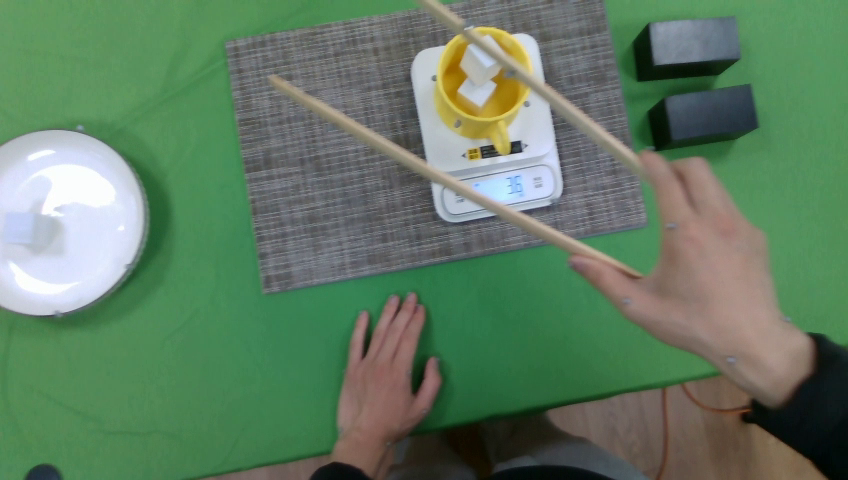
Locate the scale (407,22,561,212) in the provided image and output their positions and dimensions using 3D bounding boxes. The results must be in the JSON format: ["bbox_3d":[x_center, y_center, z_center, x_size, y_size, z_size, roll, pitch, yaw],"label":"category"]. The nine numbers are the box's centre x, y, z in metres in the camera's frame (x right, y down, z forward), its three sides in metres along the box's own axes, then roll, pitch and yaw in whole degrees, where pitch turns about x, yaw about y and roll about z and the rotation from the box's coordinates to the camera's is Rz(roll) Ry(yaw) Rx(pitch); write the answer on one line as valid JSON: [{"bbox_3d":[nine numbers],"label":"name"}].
[{"bbox_3d":[0.069,-0.141,0.693,0.149,0.031,0.200,-11,87,-2],"label":"scale"}]

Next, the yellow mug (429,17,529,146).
[{"bbox_3d":[0.062,-0.162,0.647,0.100,0.064,0.130,-21,88,-4],"label":"yellow mug"}]

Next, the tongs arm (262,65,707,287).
[{"bbox_3d":[0.028,-0.056,0.475,0.385,0.028,0.028,29,79,15],"label":"tongs arm"}]

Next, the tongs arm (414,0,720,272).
[{"bbox_3d":[0.073,-0.114,0.479,0.382,0.027,0.051,40,86,15],"label":"tongs arm"}]

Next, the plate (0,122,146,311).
[{"bbox_3d":[-0.410,-0.025,0.674,0.208,0.039,0.207,0,86,-2],"label":"plate"}]
